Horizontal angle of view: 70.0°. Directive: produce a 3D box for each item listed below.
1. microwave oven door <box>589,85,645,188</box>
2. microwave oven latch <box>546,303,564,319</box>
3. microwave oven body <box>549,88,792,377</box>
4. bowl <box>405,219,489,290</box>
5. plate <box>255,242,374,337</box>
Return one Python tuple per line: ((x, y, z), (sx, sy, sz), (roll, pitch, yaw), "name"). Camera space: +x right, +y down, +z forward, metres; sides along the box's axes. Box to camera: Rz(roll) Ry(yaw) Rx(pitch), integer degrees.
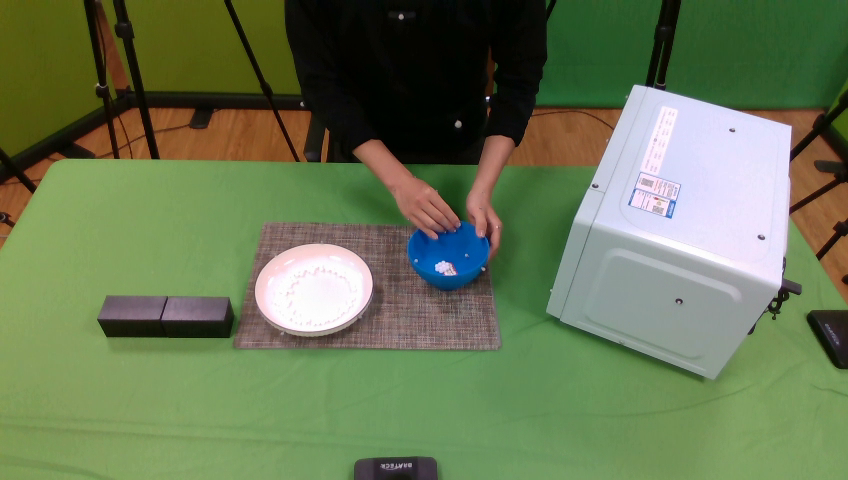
((0.342, -0.107, 1.149), (0.039, 0.245, 0.354), (20, 48, 15), "microwave oven door")
((0.242, 0.102, 1.081), (0.030, 0.029, 0.079), (21, 48, 17), "microwave oven latch")
((0.456, -0.028, 1.088), (0.325, 0.261, 0.440), (20, 47, 16), "microwave oven body")
((0.044, 0.039, 1.114), (0.151, 0.077, 0.150), (-1, 43, 1), "bowl")
((-0.192, 0.090, 1.079), (0.208, 0.039, 0.206), (2, 46, -2), "plate")
